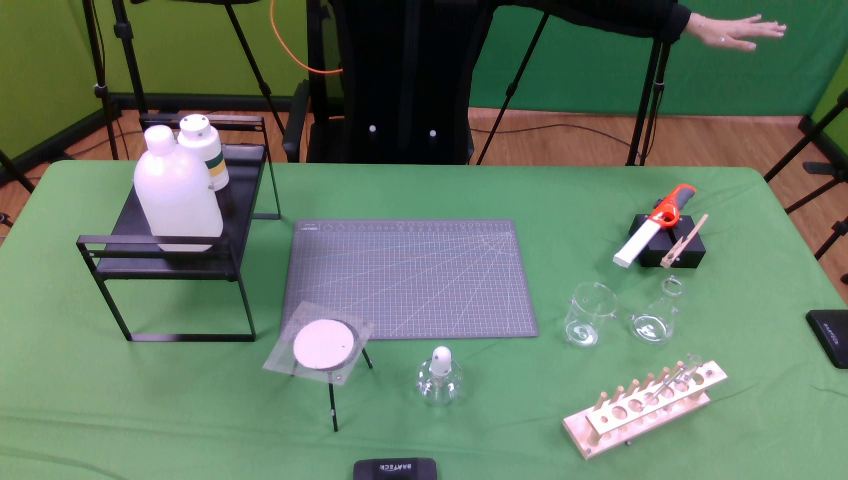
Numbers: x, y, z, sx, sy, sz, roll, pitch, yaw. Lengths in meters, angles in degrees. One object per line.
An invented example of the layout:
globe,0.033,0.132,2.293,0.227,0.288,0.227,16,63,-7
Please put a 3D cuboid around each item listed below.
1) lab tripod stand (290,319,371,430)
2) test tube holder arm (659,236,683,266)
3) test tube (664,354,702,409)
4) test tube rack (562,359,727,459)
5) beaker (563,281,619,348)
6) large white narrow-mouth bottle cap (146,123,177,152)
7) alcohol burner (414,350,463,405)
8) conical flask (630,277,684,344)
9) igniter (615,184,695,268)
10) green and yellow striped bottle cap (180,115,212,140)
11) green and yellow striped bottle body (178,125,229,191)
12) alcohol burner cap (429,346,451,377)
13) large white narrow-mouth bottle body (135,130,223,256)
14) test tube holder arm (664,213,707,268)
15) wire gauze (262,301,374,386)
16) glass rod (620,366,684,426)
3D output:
lab tripod stand,-0.146,0.194,0.923,0.148,0.132,0.147,1,47,-1
test tube holder arm,0.472,0.020,1.149,0.010,0.015,0.088,35,54,27
test tube,0.384,0.215,0.907,0.017,0.151,0.017,-1,49,1
test tube rack,0.341,0.247,0.940,0.243,0.085,0.066,-16,49,-19
beaker,0.283,0.129,1.041,0.074,0.101,0.083,11,46,7
large white narrow-mouth bottle cap,-0.354,-0.138,0.815,0.038,0.024,0.037,2,44,-1
alcohol burner,0.023,0.205,0.939,0.078,0.120,0.077,1,48,-1
conical flask,0.408,0.117,1.045,0.075,0.122,0.075,2,46,-2
igniter,0.459,-0.035,1.197,0.057,0.025,0.276,33,55,27
green and yellow striped bottle cap,-0.358,-0.177,0.951,0.045,0.020,0.045,2,45,-1
green and yellow striped bottle body,-0.361,-0.142,0.989,0.063,0.120,0.063,2,46,-2
alcohol burner cap,0.026,0.180,0.912,0.034,0.048,0.033,1,47,-1
large white narrow-mouth bottle body,-0.358,-0.075,0.874,0.102,0.195,0.101,2,44,-1
test tube holder arm,0.507,-0.001,1.171,0.013,0.015,0.178,34,54,26
wire gauze,-0.150,0.148,0.873,0.121,0.011,0.124,14,46,12
glass rod,0.322,0.227,0.866,0.008,0.200,0.008,5,51,-7
